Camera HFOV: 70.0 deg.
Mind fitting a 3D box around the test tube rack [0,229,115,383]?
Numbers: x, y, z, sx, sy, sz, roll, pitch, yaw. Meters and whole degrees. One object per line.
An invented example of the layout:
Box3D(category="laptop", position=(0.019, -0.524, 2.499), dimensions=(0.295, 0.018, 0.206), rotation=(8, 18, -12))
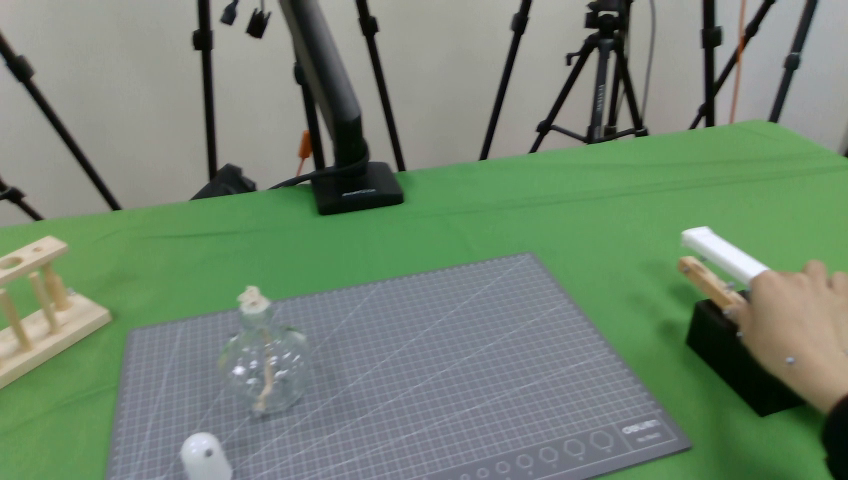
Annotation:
Box3D(category="test tube rack", position=(-0.418, 0.088, 0.543), dimensions=(0.066, 0.086, 0.242), rotation=(19, 38, 28))

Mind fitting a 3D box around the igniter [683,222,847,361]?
Box3D(category="igniter", position=(0.330, 0.053, 0.539), dimensions=(0.057, 0.025, 0.273), rotation=(-10, 31, -14))

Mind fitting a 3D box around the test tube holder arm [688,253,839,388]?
Box3D(category="test tube holder arm", position=(0.287, 0.063, 0.531), dimensions=(0.013, 0.015, 0.176), rotation=(-8, 33, -16))

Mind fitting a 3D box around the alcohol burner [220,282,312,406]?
Box3D(category="alcohol burner", position=(-0.135, 0.083, 0.512), dimensions=(0.078, 0.120, 0.077), rotation=(0, 35, 0))

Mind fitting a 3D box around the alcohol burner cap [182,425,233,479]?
Box3D(category="alcohol burner cap", position=(-0.165, 0.161, 0.459), dimensions=(0.034, 0.048, 0.033), rotation=(0, 33, 0))

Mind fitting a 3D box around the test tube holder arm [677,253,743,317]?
Box3D(category="test tube holder arm", position=(0.268, 0.041, 0.565), dimensions=(0.010, 0.015, 0.087), rotation=(-8, 33, -16))
